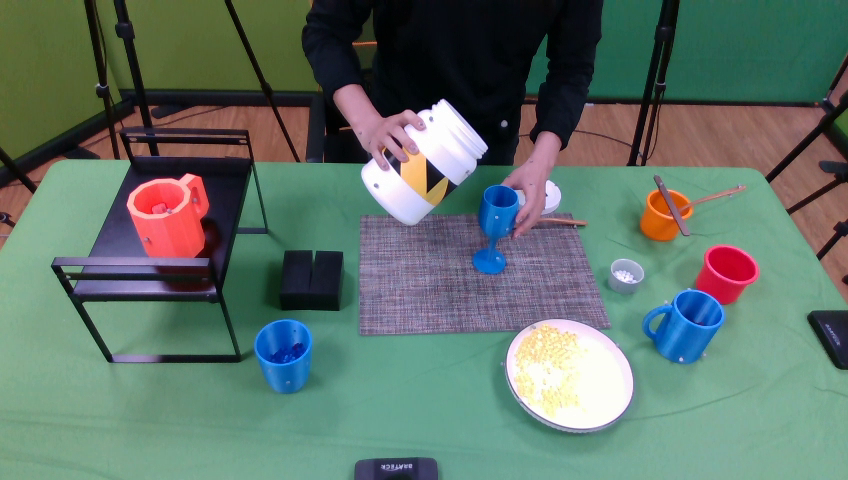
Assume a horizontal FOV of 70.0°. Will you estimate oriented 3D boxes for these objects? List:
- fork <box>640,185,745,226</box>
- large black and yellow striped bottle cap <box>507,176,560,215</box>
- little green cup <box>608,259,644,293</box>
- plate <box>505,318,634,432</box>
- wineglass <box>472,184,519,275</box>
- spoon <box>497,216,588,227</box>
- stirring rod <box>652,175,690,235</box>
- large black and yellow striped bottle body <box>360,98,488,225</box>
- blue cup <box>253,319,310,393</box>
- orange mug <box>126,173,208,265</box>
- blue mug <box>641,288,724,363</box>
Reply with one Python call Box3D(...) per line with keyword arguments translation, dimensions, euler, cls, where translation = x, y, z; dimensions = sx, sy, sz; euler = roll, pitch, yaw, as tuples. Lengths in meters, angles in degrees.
Box3D(translation=(0.534, -0.069, 1.215), dimensions=(0.207, 0.019, 0.028), euler=(-26, 28, 33), cls="fork")
Box3D(translation=(0.237, -0.098, 1.312), dimensions=(0.115, 0.019, 0.114), euler=(2, 42, -1), cls="large black and yellow striped bottle cap")
Box3D(translation=(0.379, 0.070, 1.147), dimensions=(0.061, 0.039, 0.061), euler=(3, 45, -3), cls="little green cup")
Box3D(translation=(0.235, 0.221, 0.991), dimensions=(0.209, 0.038, 0.208), euler=(2, 45, -2), cls="plate")
Box3D(translation=(0.129, -0.018, 1.112), dimensions=(0.074, 0.173, 0.073), euler=(2, 46, -2), cls="wineglass")
Box3D(translation=(0.245, -0.039, 1.247), dimensions=(0.194, 0.022, 0.041), euler=(-1, 25, -6), cls="spoon")
Box3D(translation=(0.492, -0.072, 1.211), dimensions=(0.014, 0.006, 0.175), euler=(-1, 46, -6), cls="stirring rod")
Box3D(translation=(0.001, -0.129, 0.989), dimensions=(0.184, 0.131, 0.130), euler=(-42, 51, 13), cls="large black and yellow striped bottle body")
Box3D(translation=(-0.217, 0.187, 0.943), dimensions=(0.093, 0.101, 0.092), euler=(4, 45, -3), cls="blue cup")
Box3D(translation=(-0.371, -0.039, 0.902), dimensions=(0.083, 0.101, 0.126), euler=(18, 52, 14), cls="orange mug")
Box3D(translation=(0.432, 0.144, 1.033), dimensions=(0.116, 0.106, 0.082), euler=(8, 46, 5), cls="blue mug")
